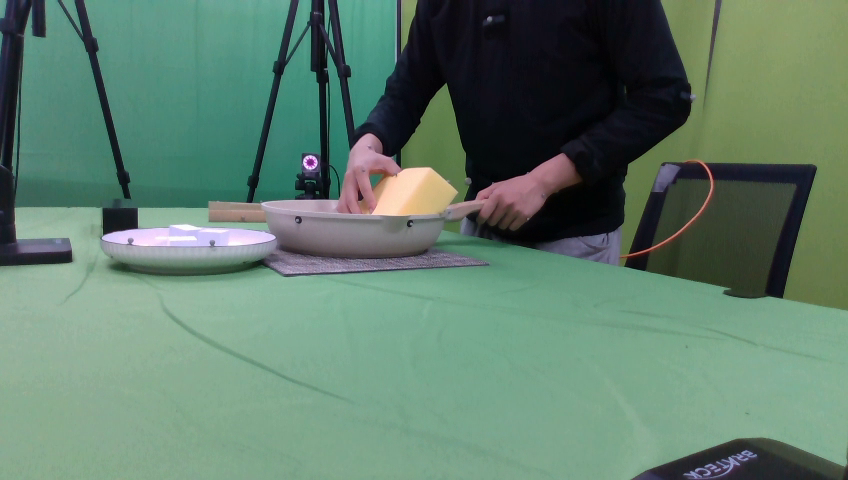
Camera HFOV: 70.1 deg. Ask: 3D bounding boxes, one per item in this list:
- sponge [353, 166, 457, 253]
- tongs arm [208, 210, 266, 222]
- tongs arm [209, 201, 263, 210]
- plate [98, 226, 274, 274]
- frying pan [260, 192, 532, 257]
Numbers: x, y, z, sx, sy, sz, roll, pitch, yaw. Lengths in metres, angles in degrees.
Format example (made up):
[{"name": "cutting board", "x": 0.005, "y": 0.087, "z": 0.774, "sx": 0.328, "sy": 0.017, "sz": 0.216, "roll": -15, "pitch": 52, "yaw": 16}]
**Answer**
[{"name": "sponge", "x": -0.042, "y": -0.053, "z": 0.972, "sx": 0.061, "sy": 0.118, "sz": 0.206, "roll": 39, "pitch": -9, "yaw": -21}, {"name": "tongs arm", "x": -0.280, "y": -0.055, "z": 1.355, "sx": 0.389, "sy": 0.028, "sz": 0.028, "roll": -2, "pitch": 7, "yaw": -28}, {"name": "tongs arm", "x": -0.306, "y": -0.070, "z": 1.429, "sx": 0.386, "sy": 0.026, "sz": 0.050, "roll": 1, "pitch": 9, "yaw": -15}, {"name": "plate", "x": -0.300, "y": 0.012, "z": 0.778, "sx": 0.208, "sy": 0.039, "sz": 0.207, "roll": 3, "pitch": 7, "yaw": 0}, {"name": "frying pan", "x": -0.017, "y": -0.043, "z": 1.005, "sx": 0.490, "sy": 0.102, "sz": 0.305, "roll": -11, "pitch": 13, "yaw": -26}]
